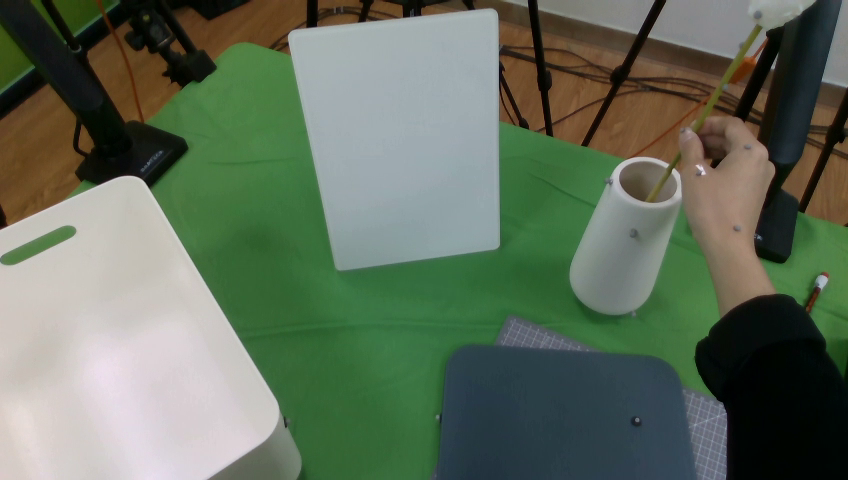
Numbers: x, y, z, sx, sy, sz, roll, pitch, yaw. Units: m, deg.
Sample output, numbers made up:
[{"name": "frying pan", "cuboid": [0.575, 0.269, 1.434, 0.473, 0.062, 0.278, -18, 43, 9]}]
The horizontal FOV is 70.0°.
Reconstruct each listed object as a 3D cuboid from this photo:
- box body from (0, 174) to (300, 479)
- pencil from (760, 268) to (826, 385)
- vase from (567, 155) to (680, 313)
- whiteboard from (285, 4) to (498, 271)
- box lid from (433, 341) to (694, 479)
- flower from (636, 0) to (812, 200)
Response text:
[{"name": "box body", "cuboid": [-0.316, 0.141, 0.607, 0.254, 0.162, 0.360, -31, 59, -19]}, {"name": "pencil", "cuboid": [0.436, 0.099, 0.715, 0.012, 0.012, 0.193, 33, 62, 23]}, {"name": "vase", "cuboid": [0.220, -0.003, 0.677, 0.098, 0.202, 0.097, -1, 52, 2]}, {"name": "whiteboard", "cuboid": [-0.029, -0.138, 0.753, 0.217, 0.308, 0.142, -8, 35, -3]}, {"name": "box lid", "cuboid": [0.138, 0.270, 0.595, 0.263, 0.015, 0.368, 3, 55, 3]}, {"name": "flower", "cuboid": [0.228, -0.088, 0.540, 0.038, 0.364, 0.043, -23, 61, -24]}]
